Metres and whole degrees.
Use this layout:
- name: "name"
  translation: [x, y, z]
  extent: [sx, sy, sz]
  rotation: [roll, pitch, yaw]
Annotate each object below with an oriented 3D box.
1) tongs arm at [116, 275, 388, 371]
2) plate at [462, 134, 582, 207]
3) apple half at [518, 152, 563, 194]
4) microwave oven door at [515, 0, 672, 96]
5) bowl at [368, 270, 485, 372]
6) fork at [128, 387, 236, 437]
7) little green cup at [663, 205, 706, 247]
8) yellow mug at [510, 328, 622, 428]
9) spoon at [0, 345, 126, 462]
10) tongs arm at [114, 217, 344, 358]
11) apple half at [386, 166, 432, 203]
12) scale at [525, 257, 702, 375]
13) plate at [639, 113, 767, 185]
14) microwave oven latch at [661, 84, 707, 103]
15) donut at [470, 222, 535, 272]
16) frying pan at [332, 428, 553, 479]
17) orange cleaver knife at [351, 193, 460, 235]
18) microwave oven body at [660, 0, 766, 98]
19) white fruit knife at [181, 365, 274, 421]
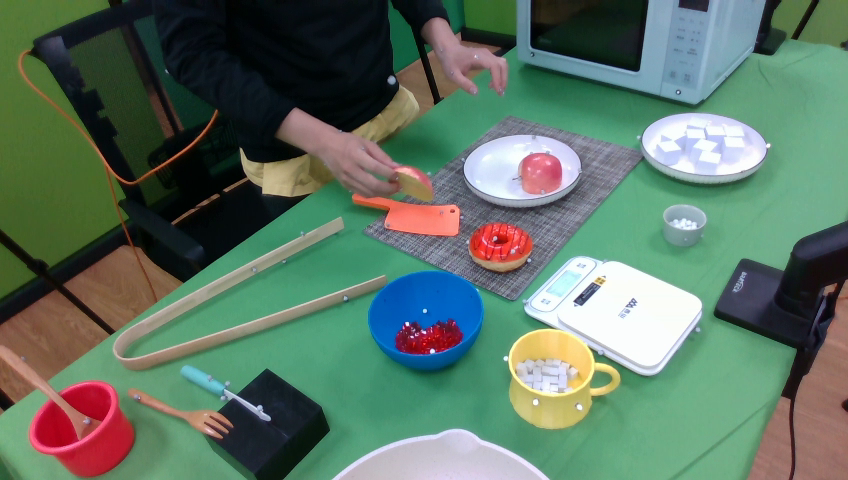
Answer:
- name: "tongs arm"
  translation: [-0.236, 0.116, 0.869]
  extent: [0.389, 0.028, 0.028]
  rotation: [-18, 49, -12]
- name: "plate"
  translation: [0.173, -0.119, 1.070]
  extent: [0.209, 0.038, 0.208]
  rotation: [-4, 40, 4]
- name: "apple half"
  translation: [0.203, -0.124, 1.047]
  extent: [0.074, 0.053, 0.080]
  rotation: [-1, 41, 3]
- name: "microwave oven door"
  translation: [0.343, -0.454, 1.259]
  extent: [0.353, 0.245, 0.039]
  rotation: [26, 51, 33]
- name: "bowl"
  translation: [0.007, 0.118, 0.791]
  extent: [0.151, 0.077, 0.150]
  rotation: [-4, 40, 4]
- name: "fork"
  translation: [-0.305, 0.207, 0.744]
  extent: [0.206, 0.019, 0.028]
  rotation: [3, 41, 36]
- name: "little green cup"
  translation: [0.396, -0.020, 0.926]
  extent: [0.061, 0.039, 0.061]
  rotation: [-4, 40, 4]
- name: "yellow mug"
  translation: [0.168, 0.164, 0.722]
  extent: [0.130, 0.064, 0.099]
  rotation: [0, 40, 8]
- name: "spoon"
  translation: [-0.434, 0.192, 0.720]
  extent: [0.194, 0.021, 0.042]
  rotation: [47, 53, -7]
- name: "tongs arm"
  translation: [-0.280, 0.067, 0.927]
  extent: [0.386, 0.026, 0.050]
  rotation: [-29, 49, -23]
- name: "apple half"
  translation: [-0.017, -0.093, 0.919]
  extent: [0.081, 0.082, 0.033]
  rotation: [16, 67, 26]
- name: "scale"
  translation: [0.254, 0.091, 0.821]
  extent: [0.199, 0.032, 0.149]
  rotation: [27, 51, 35]
- name: "plate"
  translation: [0.489, -0.157, 1.074]
  extent: [0.207, 0.039, 0.206]
  rotation: [-4, 40, 4]
- name: "microwave oven latch"
  translation: [0.517, -0.296, 1.204]
  extent: [0.078, 0.029, 0.030]
  rotation: [27, 52, 35]
- name: "donut"
  translation: [0.119, 0.009, 0.923]
  extent: [0.099, 0.048, 0.098]
  rotation: [-4, 38, 4]
- name: "frying pan"
  translation: [-0.089, 0.306, 0.564]
  extent: [0.487, 0.103, 0.306]
  rotation: [10, 41, 7]
- name: "orange cleaver knife"
  translation: [-0.036, -0.044, 1.029]
  extent: [0.210, 0.012, 0.077]
  rotation: [10, 49, 18]
- name: "microwave oven body"
  translation: [0.472, -0.513, 1.317]
  extent: [0.438, 0.261, 0.327]
  rotation: [26, 51, 34]
- name: "white fruit knife"
  translation: [-0.245, 0.187, 0.747]
  extent: [0.205, 0.027, 0.016]
  rotation: [9, 41, 40]
